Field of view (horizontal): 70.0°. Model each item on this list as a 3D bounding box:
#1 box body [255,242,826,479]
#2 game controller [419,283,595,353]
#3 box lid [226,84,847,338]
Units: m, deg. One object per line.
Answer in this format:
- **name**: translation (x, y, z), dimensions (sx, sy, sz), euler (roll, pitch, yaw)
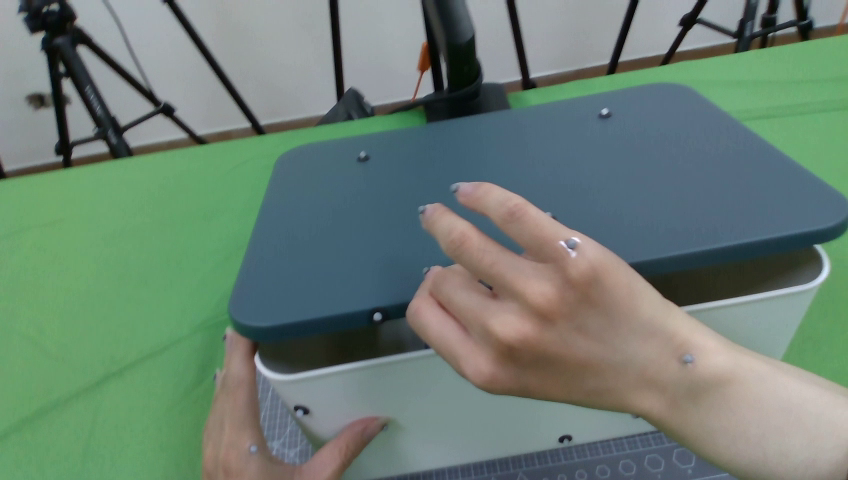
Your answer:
- **box body**: translation (0.072, 0.030, 0.505), dimensions (0.364, 0.162, 0.251), euler (-10, 41, 1)
- **game controller**: translation (0.077, 0.063, 0.545), dimensions (0.155, 0.052, 0.096), euler (3, 39, 11)
- **box lid**: translation (0.055, -0.041, 0.443), dimensions (0.371, 0.015, 0.260), euler (-10, 31, 1)
